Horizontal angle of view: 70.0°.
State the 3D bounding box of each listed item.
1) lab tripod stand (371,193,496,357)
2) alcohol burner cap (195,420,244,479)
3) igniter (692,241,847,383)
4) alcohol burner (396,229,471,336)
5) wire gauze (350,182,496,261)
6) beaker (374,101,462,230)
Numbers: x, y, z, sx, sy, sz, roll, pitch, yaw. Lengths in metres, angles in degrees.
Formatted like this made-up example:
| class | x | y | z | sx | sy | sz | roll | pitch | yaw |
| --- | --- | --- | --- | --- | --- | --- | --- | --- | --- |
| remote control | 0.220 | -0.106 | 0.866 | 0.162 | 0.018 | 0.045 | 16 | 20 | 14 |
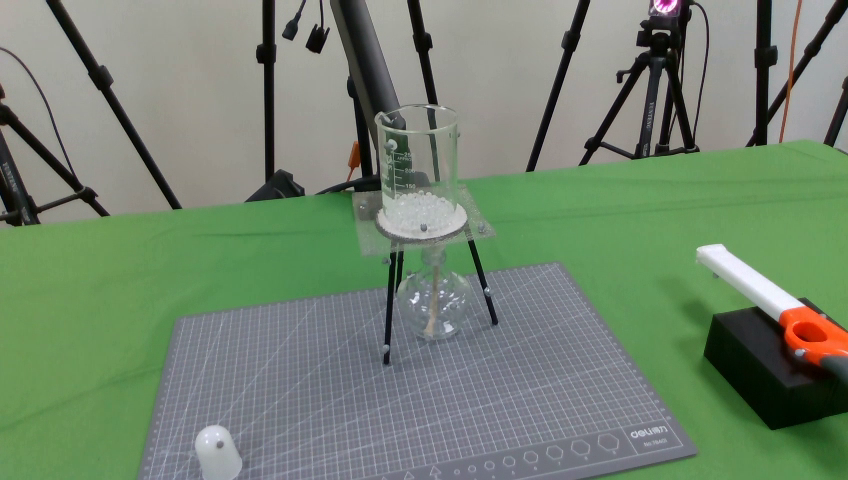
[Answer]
| class | x | y | z | sx | sy | sz | roll | pitch | yaw |
| --- | --- | --- | --- | --- | --- | --- | --- | --- | --- |
| lab tripod stand | 0.001 | 0.029 | 0.613 | 0.148 | 0.132 | 0.147 | -1 | 30 | 1 |
| alcohol burner cap | -0.166 | 0.165 | 0.487 | 0.034 | 0.048 | 0.033 | -1 | 32 | 1 |
| igniter | 0.334 | 0.071 | 0.540 | 0.057 | 0.025 | 0.273 | -9 | 29 | -9 |
| alcohol burner | 0.009 | 0.039 | 0.615 | 0.078 | 0.120 | 0.077 | 0 | 33 | 1 |
| wire gauze | -0.006 | -0.025 | 0.575 | 0.122 | 0.011 | 0.123 | -8 | 34 | -8 |
| beaker | -0.008 | -0.067 | 0.551 | 0.083 | 0.101 | 0.074 | 26 | 40 | 38 |
